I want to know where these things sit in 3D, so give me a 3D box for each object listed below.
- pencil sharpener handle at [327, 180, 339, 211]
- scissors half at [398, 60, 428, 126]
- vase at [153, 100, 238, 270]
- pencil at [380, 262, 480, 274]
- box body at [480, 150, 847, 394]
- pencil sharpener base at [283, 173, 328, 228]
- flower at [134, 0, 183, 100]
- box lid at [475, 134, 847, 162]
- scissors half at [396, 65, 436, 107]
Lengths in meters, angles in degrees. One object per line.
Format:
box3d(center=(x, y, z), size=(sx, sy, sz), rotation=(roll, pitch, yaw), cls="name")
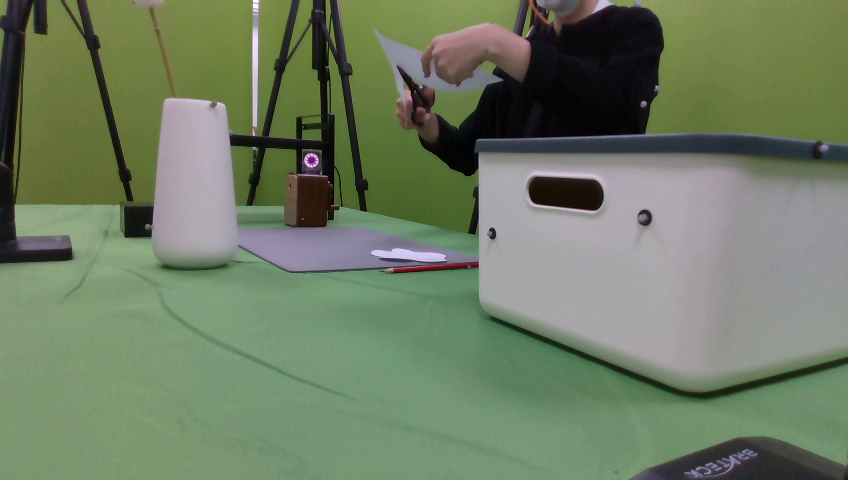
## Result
box3d(center=(-0.194, -0.094, 1.256), size=(0.031, 0.067, 0.036), rotation=(-2, -6, -36), cls="pencil sharpener handle")
box3d(center=(-0.023, -0.264, 1.096), size=(0.012, 0.040, 0.176), rotation=(21, -22, 24), cls="scissors half")
box3d(center=(-0.278, -0.066, 0.736), size=(0.098, 0.200, 0.098), rotation=(2, 9, 0), cls="vase")
box3d(center=(0.030, 0.036, 0.794), size=(0.195, 0.012, 0.012), rotation=(-3, 9, -30), cls="pencil")
box3d(center=(0.254, 0.001, 0.539), size=(0.366, 0.160, 0.253), rotation=(-2, 9, -31), cls="box body")
box3d(center=(-0.239, -0.081, 1.231), size=(0.077, 0.107, 0.061), rotation=(-2, 8, -36), cls="pencil sharpener base")
box3d(center=(-0.282, -0.147, 0.713), size=(0.038, 0.362, 0.044), rotation=(-23, 24, -31), cls="flower")
box3d(center=(0.256, -0.073, 0.528), size=(0.373, 0.015, 0.262), rotation=(-2, 8, -31), cls="box lid")
box3d(center=(-0.014, -0.284, 1.100), size=(0.013, 0.040, 0.176), rotation=(15, 1, 23), cls="scissors half")
